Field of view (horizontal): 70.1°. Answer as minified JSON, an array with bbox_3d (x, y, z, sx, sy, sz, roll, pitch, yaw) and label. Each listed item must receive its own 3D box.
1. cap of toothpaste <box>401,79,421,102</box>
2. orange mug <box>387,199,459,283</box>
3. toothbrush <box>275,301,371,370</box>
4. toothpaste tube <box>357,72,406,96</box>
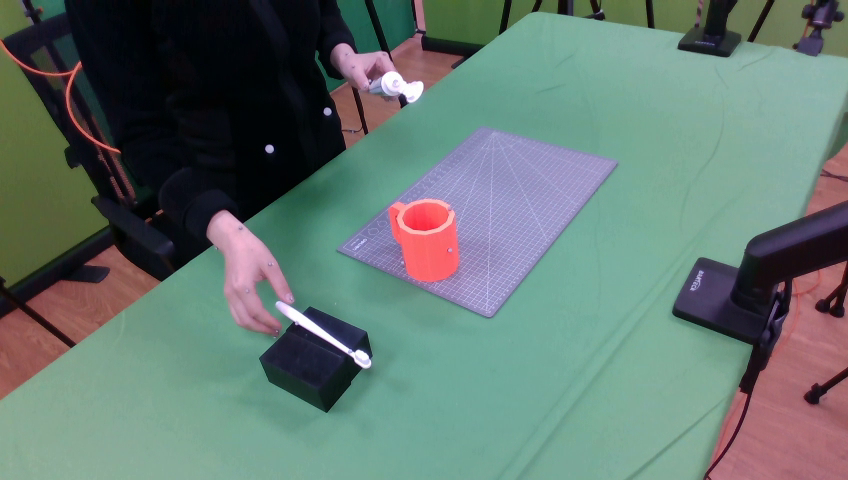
[{"bbox_3d":[-0.018,-0.220,0.886,0.037,0.011,0.037,-23,56,39],"label":"cap of toothpaste"},{"bbox_3d":[-0.006,-0.007,0.922,0.125,0.101,0.084,32,54,32],"label":"orange mug"},{"bbox_3d":[-0.135,0.119,0.783,0.180,0.017,0.014,25,53,33],"label":"toothbrush"},{"bbox_3d":[-0.063,-0.243,0.960,0.055,0.034,0.164,0,10,-19],"label":"toothpaste tube"}]
